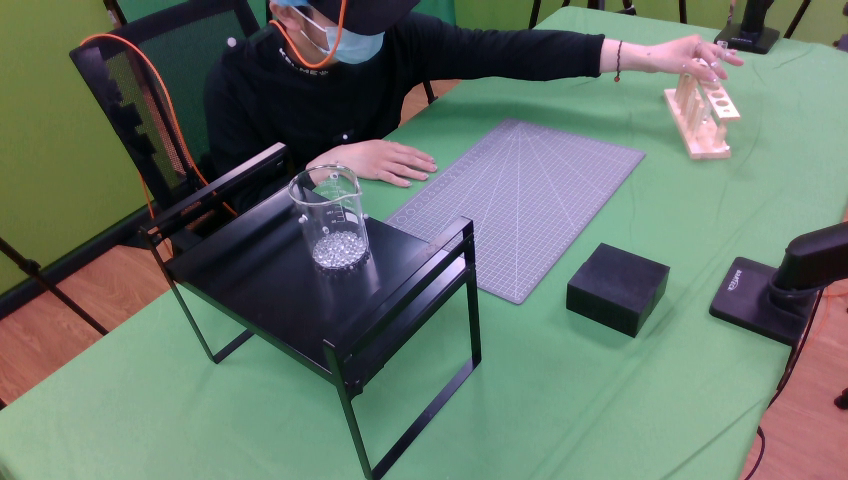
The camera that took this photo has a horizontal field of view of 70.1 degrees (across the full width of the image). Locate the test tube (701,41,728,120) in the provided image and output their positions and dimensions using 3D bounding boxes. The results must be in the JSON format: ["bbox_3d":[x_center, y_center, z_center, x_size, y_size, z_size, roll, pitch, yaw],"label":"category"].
[{"bbox_3d":[0.527,-0.287,1.100,0.017,0.151,0.017,-3,39,3],"label":"test tube"}]

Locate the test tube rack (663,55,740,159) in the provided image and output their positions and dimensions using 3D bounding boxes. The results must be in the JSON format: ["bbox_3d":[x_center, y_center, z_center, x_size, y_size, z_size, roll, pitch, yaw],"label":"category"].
[{"bbox_3d":[0.518,-0.257,1.144,0.066,0.085,0.241,-1,41,8],"label":"test tube rack"}]

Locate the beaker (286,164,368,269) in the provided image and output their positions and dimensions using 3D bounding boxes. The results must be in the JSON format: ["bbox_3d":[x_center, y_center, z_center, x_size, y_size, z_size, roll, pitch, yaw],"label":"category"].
[{"bbox_3d":[-0.101,-0.024,0.676,0.083,0.101,0.074,8,43,17],"label":"beaker"}]
